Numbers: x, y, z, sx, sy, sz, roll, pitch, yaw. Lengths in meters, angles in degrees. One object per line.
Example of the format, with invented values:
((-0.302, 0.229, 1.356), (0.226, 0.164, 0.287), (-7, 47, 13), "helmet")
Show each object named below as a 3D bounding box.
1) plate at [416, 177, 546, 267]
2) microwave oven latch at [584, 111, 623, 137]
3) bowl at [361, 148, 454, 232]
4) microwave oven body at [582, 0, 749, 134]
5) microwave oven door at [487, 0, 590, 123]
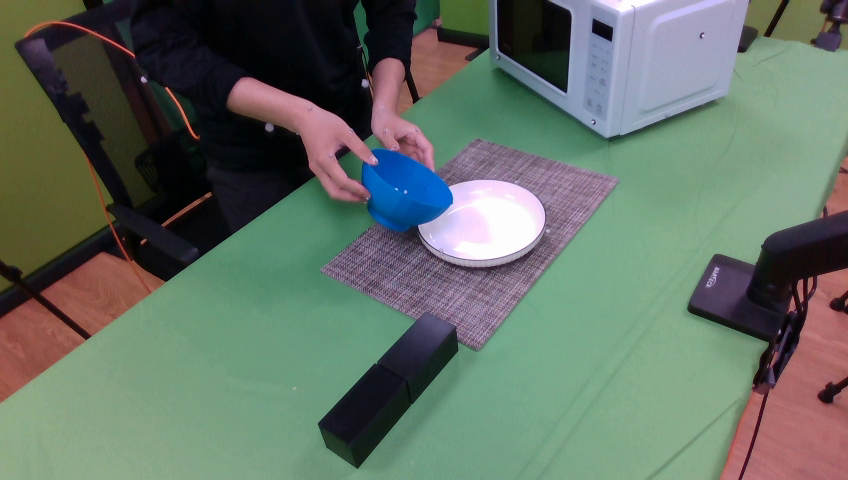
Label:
((0.090, -0.026, 0.970), (0.207, 0.039, 0.206), (-4, 41, 4), "plate")
((0.337, -0.222, 1.142), (0.030, 0.029, 0.078), (-21, 42, -14), "microwave oven latch")
((-0.038, -0.066, 0.922), (0.152, 0.077, 0.151), (26, 26, -13), "bowl")
((0.382, -0.444, 1.246), (0.327, 0.261, 0.437), (-22, 42, -16), "microwave oven body")
((0.232, -0.420, 1.231), (0.039, 0.245, 0.352), (-22, 43, -16), "microwave oven door")
